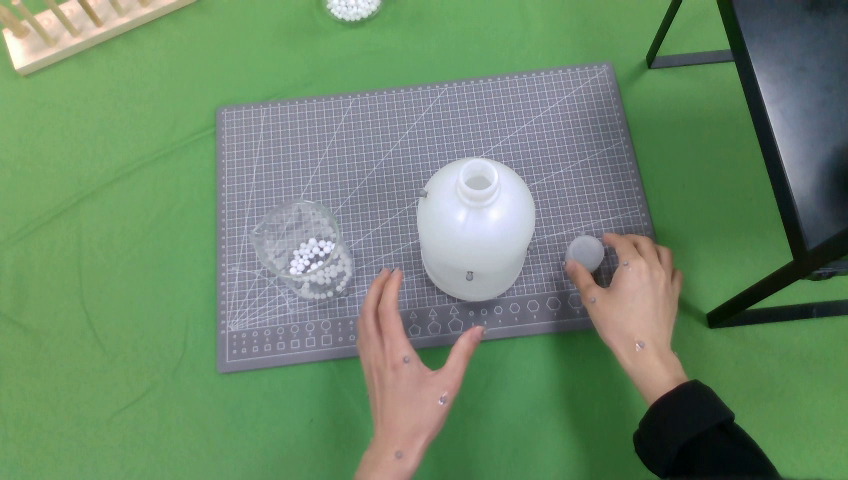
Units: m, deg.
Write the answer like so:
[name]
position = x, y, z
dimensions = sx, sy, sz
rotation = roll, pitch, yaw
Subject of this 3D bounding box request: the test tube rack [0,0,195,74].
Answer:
[test tube rack]
position = -0.385, -0.289, 0.697
dimensions = 0.242, 0.086, 0.066
rotation = -27, 72, -7

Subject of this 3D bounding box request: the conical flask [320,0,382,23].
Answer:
[conical flask]
position = -0.089, -0.310, 0.675
dimensions = 0.075, 0.122, 0.075
rotation = -1, 70, 2

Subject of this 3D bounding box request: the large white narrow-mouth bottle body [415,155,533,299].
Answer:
[large white narrow-mouth bottle body]
position = 0.043, -0.016, 0.530
dimensions = 0.102, 0.196, 0.101
rotation = -1, 71, 4

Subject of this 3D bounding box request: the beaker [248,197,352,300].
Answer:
[beaker]
position = -0.112, 0.013, 0.575
dimensions = 0.084, 0.101, 0.073
rotation = 4, 70, 4
